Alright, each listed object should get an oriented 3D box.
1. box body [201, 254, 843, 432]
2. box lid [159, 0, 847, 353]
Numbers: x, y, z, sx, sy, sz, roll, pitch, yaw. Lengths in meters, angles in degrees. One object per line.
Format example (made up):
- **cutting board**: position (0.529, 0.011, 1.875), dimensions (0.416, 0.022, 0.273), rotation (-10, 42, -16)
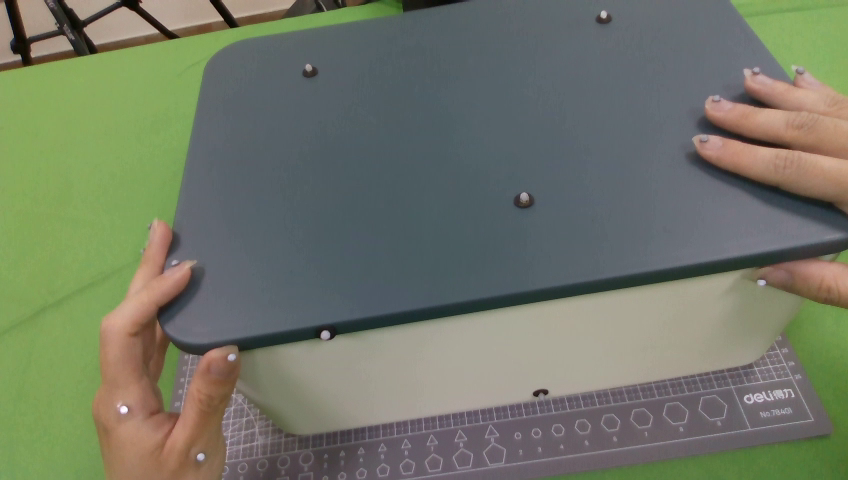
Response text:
- **box body**: position (0.046, -0.024, 0.430), dimensions (0.364, 0.162, 0.251), rotation (-10, 51, 3)
- **box lid**: position (0.032, -0.071, 0.373), dimensions (0.371, 0.015, 0.260), rotation (-9, 51, 2)
